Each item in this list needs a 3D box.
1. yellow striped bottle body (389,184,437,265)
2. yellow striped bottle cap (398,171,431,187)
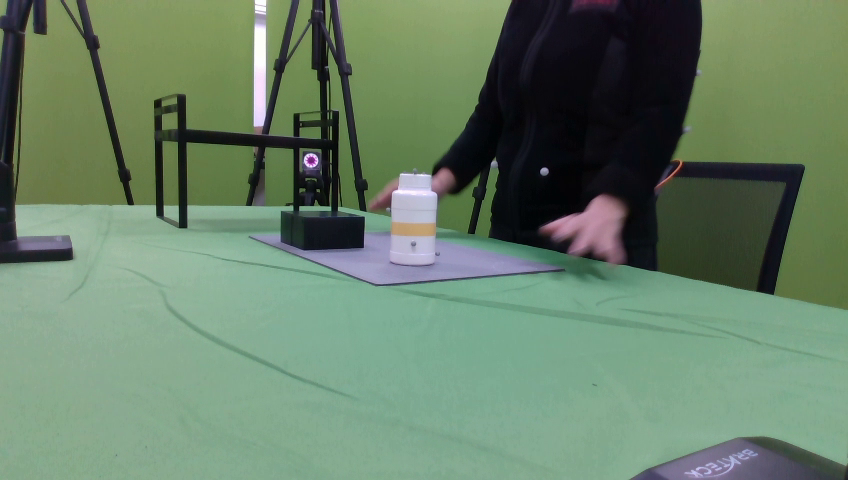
[{"bbox_3d":[-0.014,-0.030,0.816,0.063,0.120,0.063,2,7,0],"label":"yellow striped bottle body"},{"bbox_3d":[-0.012,-0.082,0.809,0.044,0.018,0.044,4,9,0],"label":"yellow striped bottle cap"}]
